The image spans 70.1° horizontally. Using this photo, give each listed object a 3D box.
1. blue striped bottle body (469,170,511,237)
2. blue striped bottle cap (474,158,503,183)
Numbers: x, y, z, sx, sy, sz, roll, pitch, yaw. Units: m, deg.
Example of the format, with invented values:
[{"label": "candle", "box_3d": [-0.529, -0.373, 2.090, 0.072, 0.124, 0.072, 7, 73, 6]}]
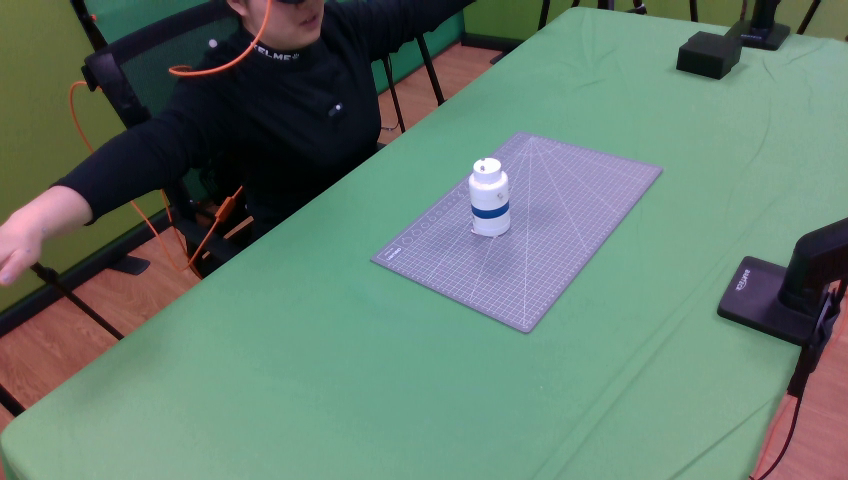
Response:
[{"label": "blue striped bottle body", "box_3d": [0.105, -0.069, 0.963, 0.063, 0.121, 0.063, -6, 40, 5]}, {"label": "blue striped bottle cap", "box_3d": [0.099, -0.108, 0.931, 0.044, 0.021, 0.044, -6, 40, 6]}]
